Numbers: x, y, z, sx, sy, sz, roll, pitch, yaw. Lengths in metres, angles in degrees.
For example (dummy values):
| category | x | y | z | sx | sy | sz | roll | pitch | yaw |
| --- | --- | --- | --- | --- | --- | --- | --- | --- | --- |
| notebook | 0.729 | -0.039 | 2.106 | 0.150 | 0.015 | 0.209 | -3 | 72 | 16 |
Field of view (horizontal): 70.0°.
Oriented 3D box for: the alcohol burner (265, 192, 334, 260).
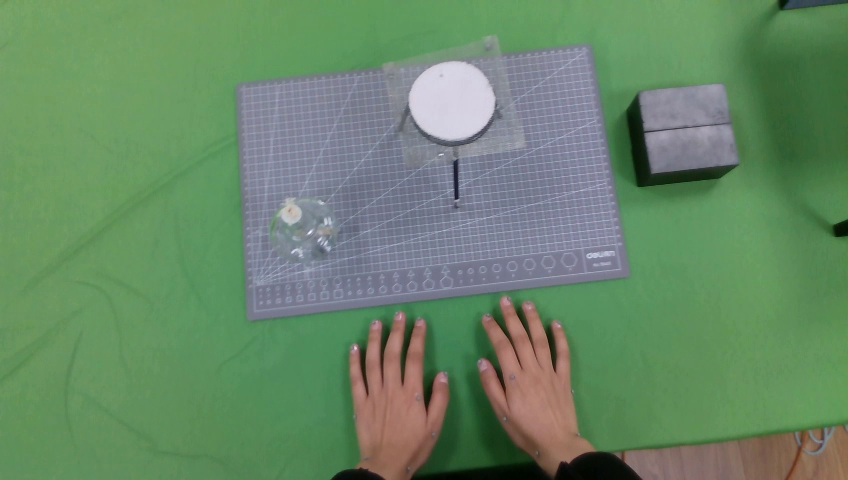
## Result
| category | x | y | z | sx | sy | sz | roll | pitch | yaw |
| --- | --- | --- | --- | --- | --- | --- | --- | --- | --- |
| alcohol burner | -0.140 | -0.020 | 0.669 | 0.078 | 0.119 | 0.077 | 0 | 76 | 1 |

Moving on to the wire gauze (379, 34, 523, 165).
| category | x | y | z | sx | sy | sz | roll | pitch | yaw |
| --- | --- | --- | --- | --- | --- | --- | --- | --- | --- |
| wire gauze | 0.026 | -0.142 | 0.612 | 0.125 | 0.011 | 0.121 | -12 | 79 | -2 |

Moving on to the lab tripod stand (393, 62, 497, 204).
| category | x | y | z | sx | sy | sz | roll | pitch | yaw |
| --- | --- | --- | --- | --- | --- | --- | --- | --- | --- |
| lab tripod stand | 0.029 | -0.130 | 0.678 | 0.148 | 0.132 | 0.147 | 0 | 76 | 1 |
